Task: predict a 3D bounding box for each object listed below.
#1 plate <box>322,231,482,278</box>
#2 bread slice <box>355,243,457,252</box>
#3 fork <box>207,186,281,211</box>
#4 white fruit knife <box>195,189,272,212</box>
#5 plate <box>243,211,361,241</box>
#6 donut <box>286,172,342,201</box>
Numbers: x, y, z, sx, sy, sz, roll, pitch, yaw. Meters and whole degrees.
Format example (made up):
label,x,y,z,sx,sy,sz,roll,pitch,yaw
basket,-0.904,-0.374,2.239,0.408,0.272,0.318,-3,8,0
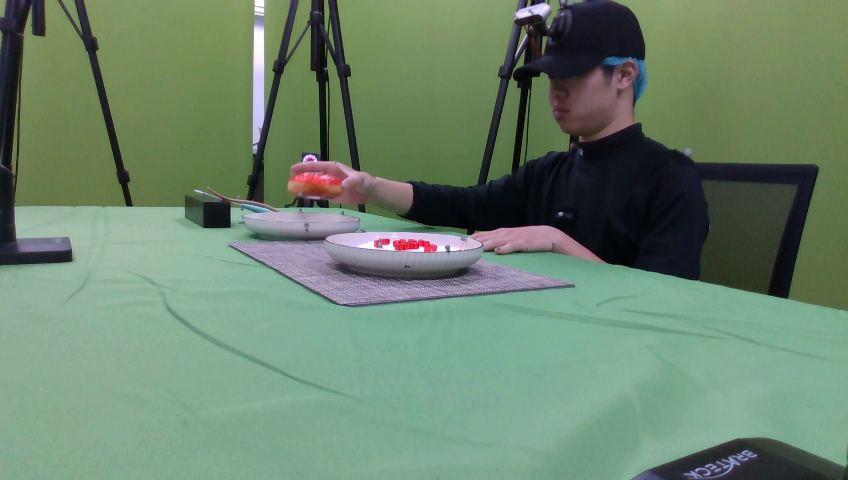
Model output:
label,x,y,z,sx,sy,sz,roll,pitch,yaw
plate,-0.028,0.018,0.789,0.209,0.038,0.209,3,7,0
bread slice,-0.027,0.019,0.793,0.131,0.019,0.105,6,7,18
fork,-0.342,-0.070,1.244,0.208,0.018,0.028,18,-6,-24
white fruit knife,-0.378,-0.073,1.270,0.208,0.016,0.027,18,-4,-32
plate,-0.219,-0.025,1.092,0.208,0.039,0.207,2,7,0
donut,-0.195,-0.097,1.074,0.099,0.048,0.099,2,0,0
